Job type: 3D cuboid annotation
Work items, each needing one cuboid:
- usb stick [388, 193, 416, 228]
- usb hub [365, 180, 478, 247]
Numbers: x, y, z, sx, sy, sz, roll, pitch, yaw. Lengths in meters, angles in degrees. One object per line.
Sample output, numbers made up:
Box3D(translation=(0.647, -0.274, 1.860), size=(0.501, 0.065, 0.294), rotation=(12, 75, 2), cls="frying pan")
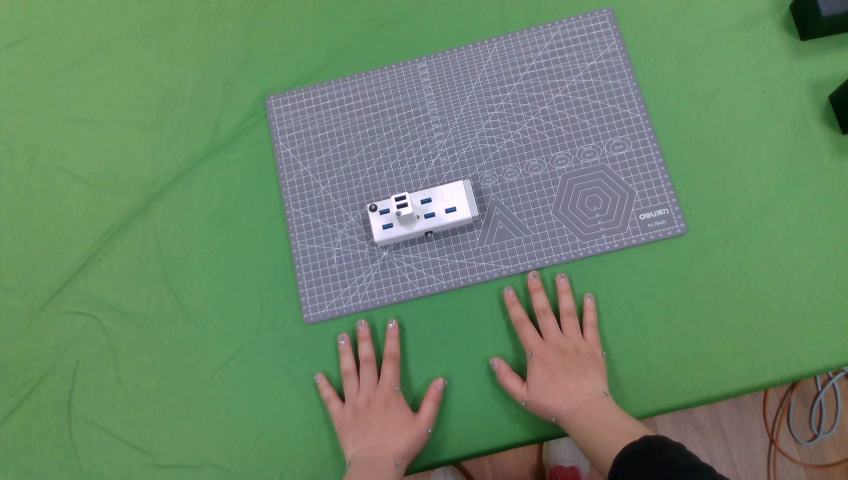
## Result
Box3D(translation=(-0.023, -0.030, 0.679), size=(0.021, 0.059, 0.027), rotation=(-18, 72, 2), cls="usb stick")
Box3D(translation=(-0.004, -0.032, 0.707), size=(0.125, 0.025, 0.049), rotation=(-14, 75, 3), cls="usb hub")
